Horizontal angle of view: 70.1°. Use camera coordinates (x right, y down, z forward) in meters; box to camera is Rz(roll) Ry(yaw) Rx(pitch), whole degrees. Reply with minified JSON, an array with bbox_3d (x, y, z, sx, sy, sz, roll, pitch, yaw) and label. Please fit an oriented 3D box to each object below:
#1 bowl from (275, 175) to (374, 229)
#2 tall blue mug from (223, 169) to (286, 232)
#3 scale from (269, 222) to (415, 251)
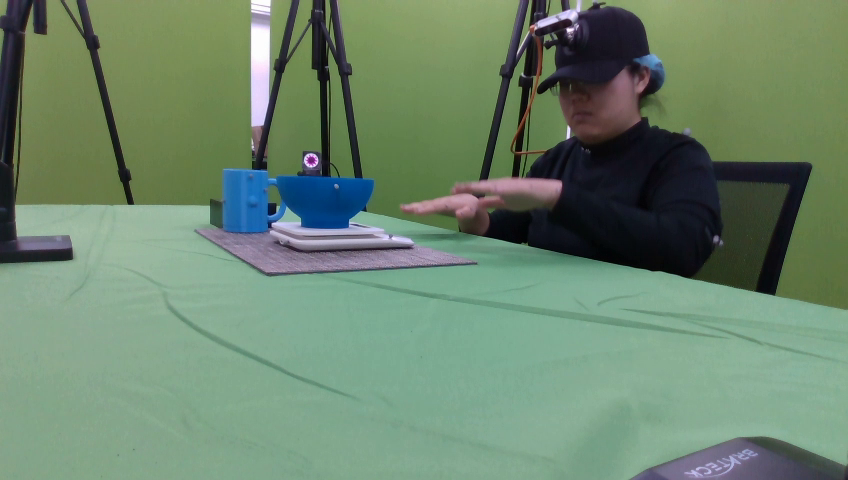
[{"bbox_3d":[-0.153,-0.059,0.932,0.151,0.077,0.151,3,6,0],"label":"bowl"},{"bbox_3d":[-0.310,-0.072,1.091,0.077,0.108,0.107,5,8,27],"label":"tall blue mug"},{"bbox_3d":[-0.130,-0.008,0.959,0.202,0.031,0.148,-1,9,-32],"label":"scale"}]
